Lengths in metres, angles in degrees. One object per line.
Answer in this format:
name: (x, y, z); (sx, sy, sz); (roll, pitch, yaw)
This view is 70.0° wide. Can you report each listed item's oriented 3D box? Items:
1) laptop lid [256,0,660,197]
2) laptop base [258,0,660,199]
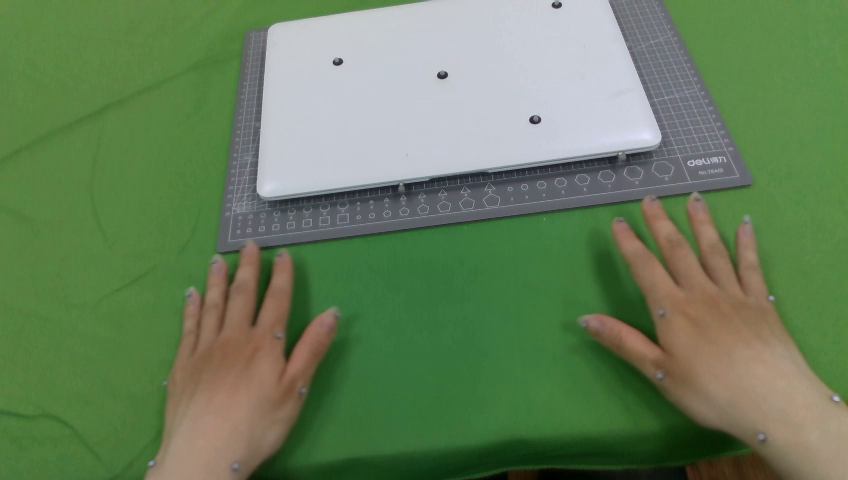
laptop lid: (0.019, -0.156, 0.576); (0.357, 0.013, 0.239); (-6, 58, 3)
laptop base: (0.020, -0.151, 0.587); (0.354, 0.023, 0.233); (-7, 60, 2)
